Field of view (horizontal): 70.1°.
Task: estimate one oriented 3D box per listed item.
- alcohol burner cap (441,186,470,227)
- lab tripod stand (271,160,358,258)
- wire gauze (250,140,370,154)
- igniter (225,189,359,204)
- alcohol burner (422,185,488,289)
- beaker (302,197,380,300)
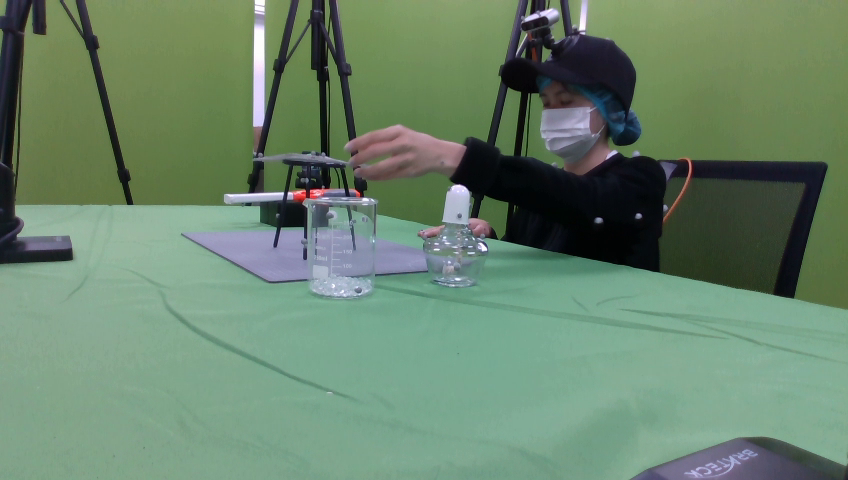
[{"bbox_3d":[0.038,-0.039,0.700,0.034,0.048,0.034,6,4,0],"label":"alcohol burner cap"},{"bbox_3d":[-0.160,-0.048,0.876,0.148,0.131,0.148,3,5,0],"label":"lab tripod stand"},{"bbox_3d":[-0.163,-0.131,0.867,0.124,0.011,0.122,-1,9,32],"label":"wire gauze"},{"bbox_3d":[-0.264,-0.089,1.239,0.278,0.025,0.057,-5,12,-32],"label":"igniter"},{"bbox_3d":[0.036,-0.004,0.705,0.078,0.119,0.078,1,7,0],"label":"alcohol burner"},{"bbox_3d":[-0.089,0.007,0.625,0.084,0.100,0.074,4,7,16],"label":"beaker"}]
